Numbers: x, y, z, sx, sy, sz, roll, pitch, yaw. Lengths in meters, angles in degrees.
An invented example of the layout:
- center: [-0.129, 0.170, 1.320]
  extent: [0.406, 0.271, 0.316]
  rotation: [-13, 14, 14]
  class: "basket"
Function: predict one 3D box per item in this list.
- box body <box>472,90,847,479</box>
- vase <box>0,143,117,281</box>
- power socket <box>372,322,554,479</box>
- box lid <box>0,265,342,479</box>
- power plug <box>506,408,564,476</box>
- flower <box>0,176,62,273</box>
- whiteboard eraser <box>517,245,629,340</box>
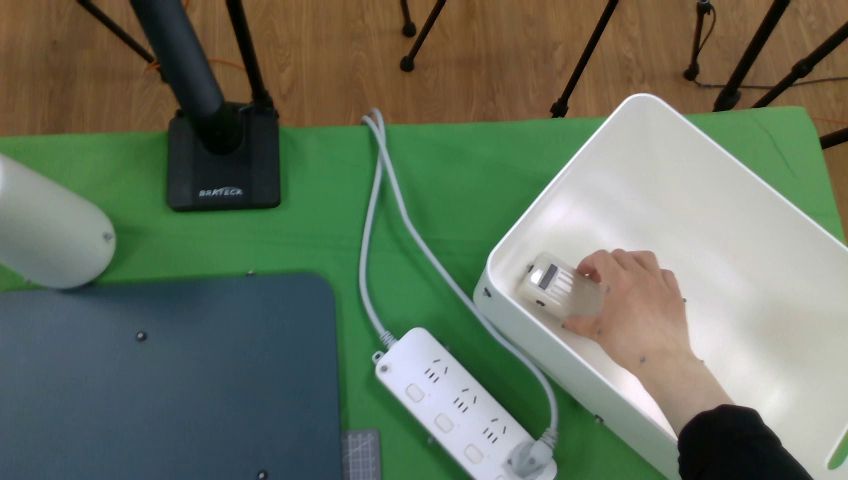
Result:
- center: [0.255, 0.071, 0.613]
  extent: [0.363, 0.161, 0.254]
  rotation: [41, 75, 6]
  class: "box body"
- center: [-0.366, -0.026, 0.562]
  extent: [0.098, 0.201, 0.097]
  rotation: [2, 73, -6]
  class: "vase"
- center: [0.040, 0.179, 0.632]
  extent: [0.072, 0.033, 0.226]
  rotation: [-43, 82, -15]
  class: "power socket"
- center: [-0.271, 0.161, 0.618]
  extent: [0.372, 0.015, 0.261]
  rotation: [-3, 75, -6]
  class: "box lid"
- center: [0.115, 0.205, 0.608]
  extent: [0.072, 0.053, 0.035]
  rotation: [-32, 78, -17]
  class: "power plug"
- center: [-0.355, -0.064, 0.487]
  extent: [0.044, 0.364, 0.038]
  rotation: [34, 58, 11]
  class: "flower"
- center: [0.162, 0.057, 0.662]
  extent: [0.112, 0.042, 0.055]
  rotation: [32, 71, 3]
  class: "whiteboard eraser"
